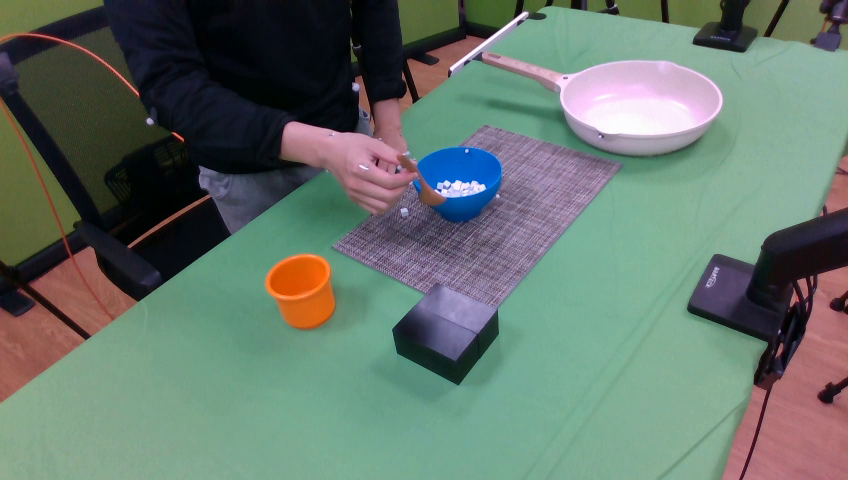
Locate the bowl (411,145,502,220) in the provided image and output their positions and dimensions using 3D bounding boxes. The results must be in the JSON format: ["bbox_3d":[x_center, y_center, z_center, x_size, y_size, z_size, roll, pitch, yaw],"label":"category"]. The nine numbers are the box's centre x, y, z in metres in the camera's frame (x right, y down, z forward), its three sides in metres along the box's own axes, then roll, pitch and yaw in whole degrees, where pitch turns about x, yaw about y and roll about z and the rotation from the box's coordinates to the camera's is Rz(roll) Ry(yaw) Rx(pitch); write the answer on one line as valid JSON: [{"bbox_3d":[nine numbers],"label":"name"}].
[{"bbox_3d":[0.057,-0.086,1.010,0.151,0.077,0.150,-4,40,4],"label":"bowl"}]

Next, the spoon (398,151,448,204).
[{"bbox_3d":[-0.005,-0.082,0.814,0.041,0.195,0.021,-1,73,15],"label":"spoon"}]

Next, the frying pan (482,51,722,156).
[{"bbox_3d":[0.326,-0.298,1.204,0.484,0.103,0.307,28,51,23],"label":"frying pan"}]
